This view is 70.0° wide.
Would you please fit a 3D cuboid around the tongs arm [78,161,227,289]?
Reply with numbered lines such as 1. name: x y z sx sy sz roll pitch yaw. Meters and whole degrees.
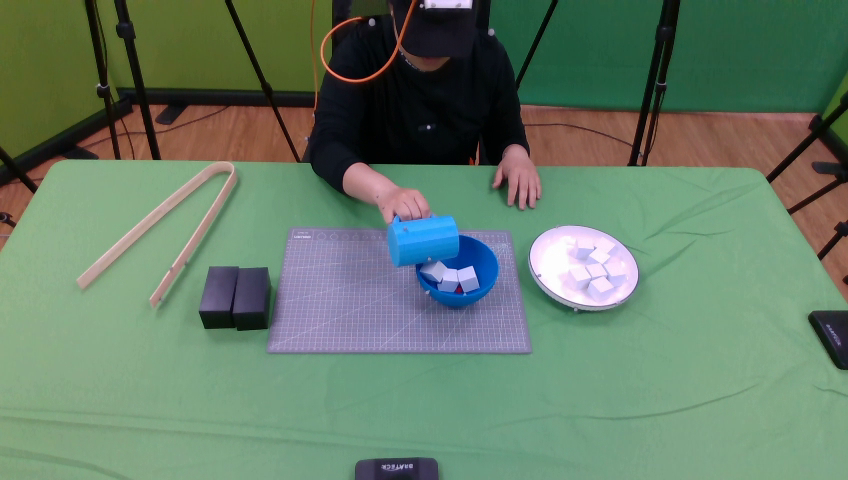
1. tongs arm: -0.524 -0.043 1.196 0.028 0.028 0.386 15 47 22

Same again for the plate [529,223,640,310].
1. plate: 0.303 0.053 1.156 0.209 0.038 0.208 2 46 -2

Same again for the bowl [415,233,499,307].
1. bowl: 0.057 0.067 1.093 0.151 0.077 0.150 2 46 -2

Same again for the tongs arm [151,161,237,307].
1. tongs arm: -0.447 -0.026 1.180 0.051 0.027 0.383 8 46 10

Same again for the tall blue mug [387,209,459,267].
1. tall blue mug: -0.006 -0.014 1.048 0.108 0.078 0.107 -9 74 -16
